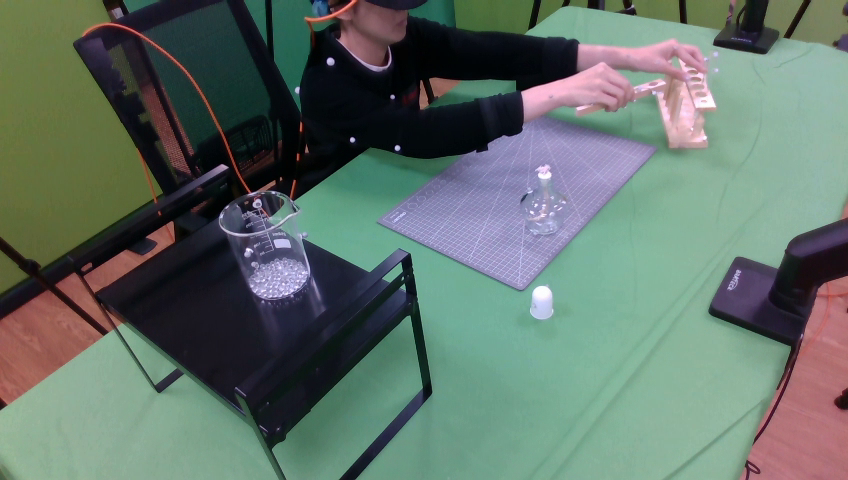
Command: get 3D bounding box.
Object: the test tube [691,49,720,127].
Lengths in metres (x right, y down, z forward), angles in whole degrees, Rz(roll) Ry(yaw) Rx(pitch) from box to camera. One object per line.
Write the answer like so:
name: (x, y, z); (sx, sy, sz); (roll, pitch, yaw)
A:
test tube: (0.505, -0.270, 1.086); (0.017, 0.151, 0.017); (-2, 41, 2)

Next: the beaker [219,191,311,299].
beaker: (-0.164, 0.008, 0.654); (0.084, 0.101, 0.073); (-10, 41, -3)

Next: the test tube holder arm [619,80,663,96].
test tube holder arm: (0.372, -0.257, 1.038); (0.088, 0.015, 0.010); (-21, 45, -17)

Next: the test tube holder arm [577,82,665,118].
test tube holder arm: (0.334, -0.238, 1.020); (0.179, 0.015, 0.013); (-22, 45, -18)

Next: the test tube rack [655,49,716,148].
test tube rack: (0.502, -0.281, 1.176); (0.066, 0.085, 0.241); (2, 41, 11)

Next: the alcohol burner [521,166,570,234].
alcohol burner: (0.192, -0.068, 0.951); (0.078, 0.119, 0.077); (-4, 42, 4)

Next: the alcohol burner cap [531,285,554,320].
alcohol burner cap: (0.164, 0.084, 0.838); (0.034, 0.048, 0.033); (-4, 40, 4)
